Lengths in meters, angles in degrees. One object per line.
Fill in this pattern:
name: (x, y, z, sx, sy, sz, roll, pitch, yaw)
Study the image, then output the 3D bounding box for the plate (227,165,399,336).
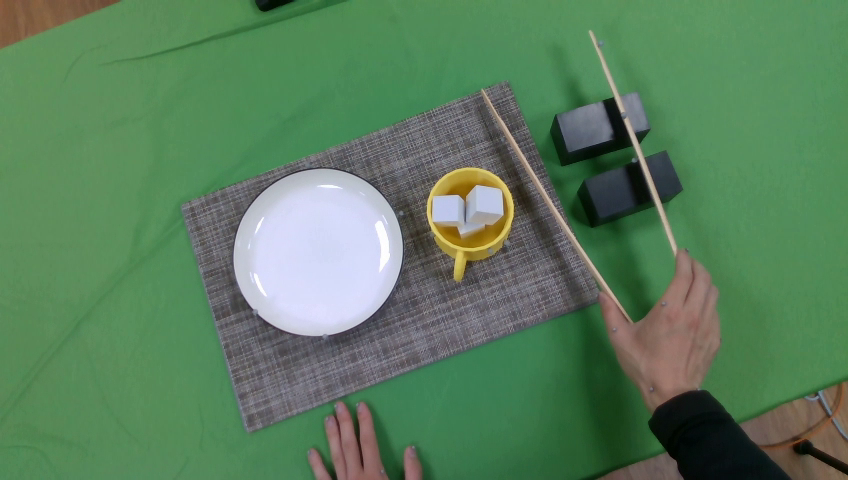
plate: (-0.131, 0.013, 0.736, 0.207, 0.039, 0.207, -1, 80, 4)

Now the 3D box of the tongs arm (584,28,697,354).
tongs arm: (0.229, -0.064, 0.681, 0.051, 0.027, 0.382, -20, 75, 11)

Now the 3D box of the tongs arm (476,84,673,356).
tongs arm: (0.161, -0.032, 0.697, 0.028, 0.028, 0.385, -31, 73, 5)

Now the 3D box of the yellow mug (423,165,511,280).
yellow mug: (0.047, -0.016, 0.713, 0.100, 0.064, 0.130, 10, 81, 6)
